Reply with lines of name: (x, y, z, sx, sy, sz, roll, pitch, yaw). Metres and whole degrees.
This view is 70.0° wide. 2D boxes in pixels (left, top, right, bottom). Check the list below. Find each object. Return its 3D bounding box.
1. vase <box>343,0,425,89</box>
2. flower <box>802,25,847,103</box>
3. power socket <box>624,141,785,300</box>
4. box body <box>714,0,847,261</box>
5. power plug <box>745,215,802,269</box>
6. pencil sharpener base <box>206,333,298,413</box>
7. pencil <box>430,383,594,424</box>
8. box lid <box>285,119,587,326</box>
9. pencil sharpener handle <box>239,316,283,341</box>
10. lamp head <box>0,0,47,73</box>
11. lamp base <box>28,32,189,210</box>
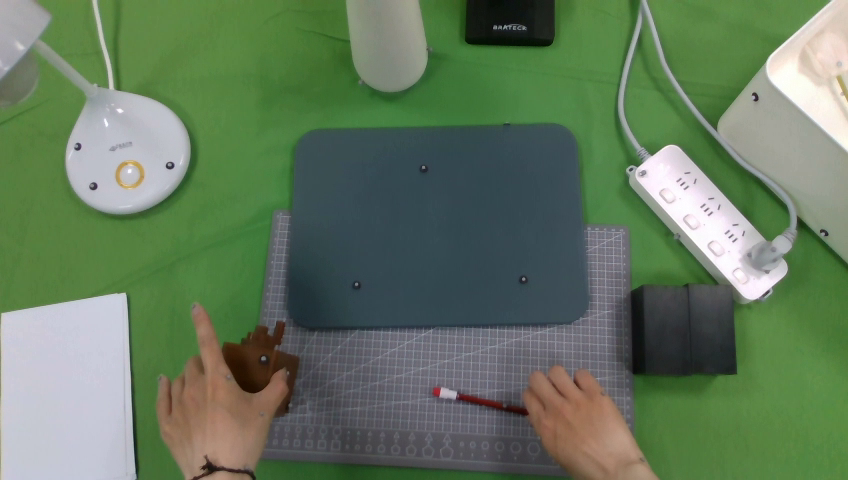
vase: (-0.048, -0.265, 0.723, 0.098, 0.201, 0.097, 0, 75, 0)
flower: (0.571, -0.105, 0.761, 0.044, 0.038, 0.360, -21, 81, 12)
power socket: (0.343, -0.025, 0.743, 0.072, 0.033, 0.225, -36, 78, -8)
box body: (0.559, -0.113, 0.693, 0.254, 0.161, 0.362, -40, 79, -8)
power plug: (0.411, 0.007, 0.710, 0.072, 0.053, 0.035, -26, 75, -10)
pencil sharpener base: (-0.185, 0.148, 0.671, 0.061, 0.107, 0.076, 9, 76, 4)
pencil: (0.101, 0.192, 0.705, 0.194, 0.012, 0.012, 12, 77, 3)
box lid: (0.015, -0.026, 0.760, 0.371, 0.015, 0.262, -1, 76, 1)
pencil sharpener handle: (-0.176, 0.096, 0.671, 0.036, 0.068, 0.030, 7, 75, 11)
lamp head: (-0.361, -0.169, 0.432, 0.112, 0.124, 0.111, -26, 40, 24)
lamp base: (-0.393, -0.144, 0.710, 0.160, 0.181, 0.178, -28, 75, -6)
